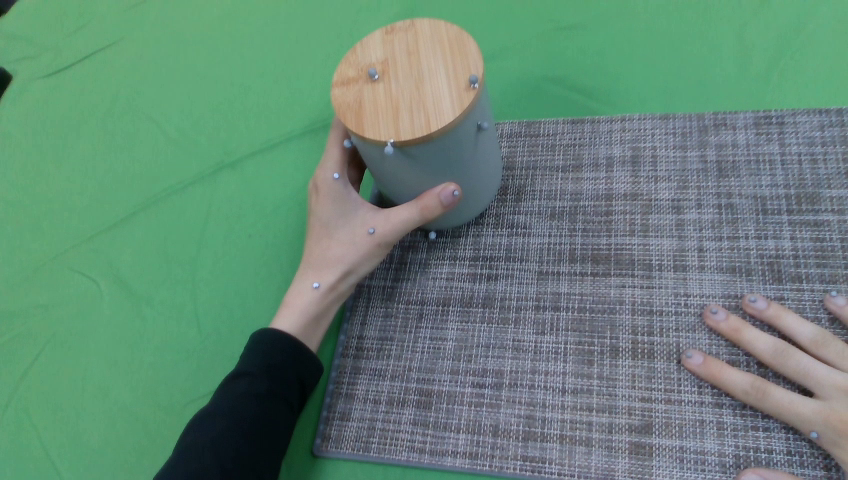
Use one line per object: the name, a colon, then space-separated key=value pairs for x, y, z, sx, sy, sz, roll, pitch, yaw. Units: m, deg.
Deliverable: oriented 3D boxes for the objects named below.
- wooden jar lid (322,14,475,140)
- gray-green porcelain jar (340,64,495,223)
wooden jar lid: x=-0.017 y=-0.112 z=0.422 sx=0.108 sy=0.021 sz=0.107 roll=-5 pitch=64 yaw=10
gray-green porcelain jar: x=-0.001 y=-0.082 z=0.475 sx=0.105 sy=0.128 sz=0.105 roll=-6 pitch=60 yaw=11
